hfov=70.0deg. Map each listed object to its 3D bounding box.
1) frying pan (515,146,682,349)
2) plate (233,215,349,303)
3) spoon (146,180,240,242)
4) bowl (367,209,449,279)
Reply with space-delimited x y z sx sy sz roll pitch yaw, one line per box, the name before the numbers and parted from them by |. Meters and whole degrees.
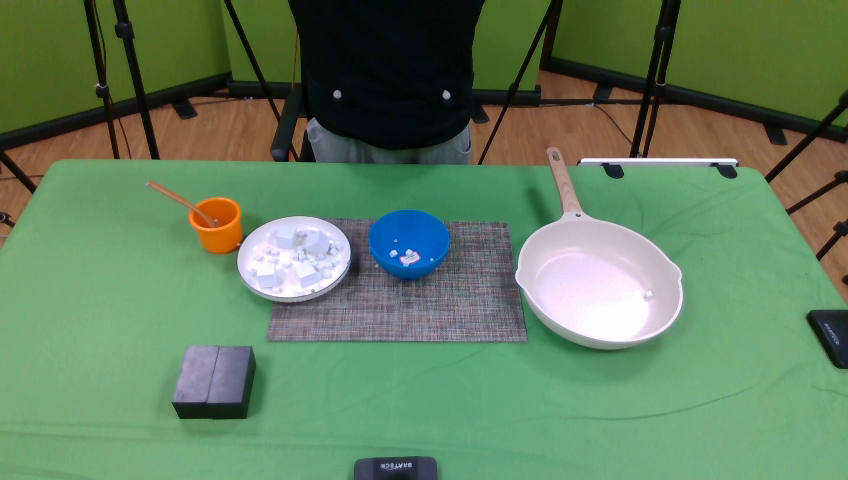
frying pan | 0.302 -0.004 1.168 0.307 0.103 0.484 -1 55 -7
plate | -0.244 0.039 1.125 0.208 0.039 0.206 3 46 -2
spoon | -0.428 -0.055 1.130 0.021 0.195 0.041 -29 36 31
bowl | -0.031 0.020 1.132 0.151 0.077 0.150 2 46 -2
